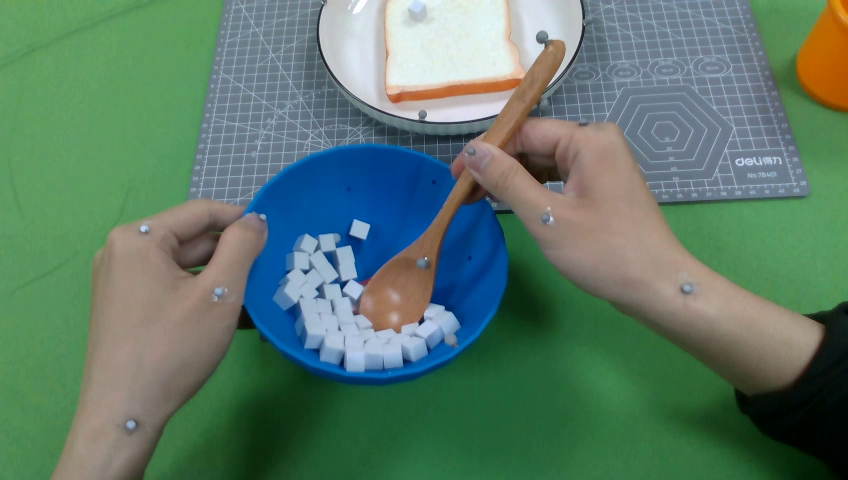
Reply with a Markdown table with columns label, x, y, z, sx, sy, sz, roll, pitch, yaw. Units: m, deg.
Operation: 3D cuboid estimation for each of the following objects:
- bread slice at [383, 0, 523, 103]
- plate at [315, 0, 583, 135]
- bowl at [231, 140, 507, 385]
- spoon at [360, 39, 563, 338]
| label | x | y | z | sx | sy | sz | roll | pitch | yaw |
| --- | --- | --- | --- | --- | --- | --- | --- | --- | --- |
| bread slice | 0.016 | -0.170 | 0.491 | 0.107 | 0.018 | 0.133 | -9 | 66 | 1 |
| plate | 0.019 | -0.167 | 0.486 | 0.209 | 0.038 | 0.207 | -2 | 64 | 4 |
| bowl | -0.032 | 0.023 | 0.362 | 0.151 | 0.077 | 0.150 | 4 | 58 | -6 |
| spoon | 0.019 | -0.022 | 0.335 | 0.041 | 0.022 | 0.194 | 43 | 115 | 25 |
